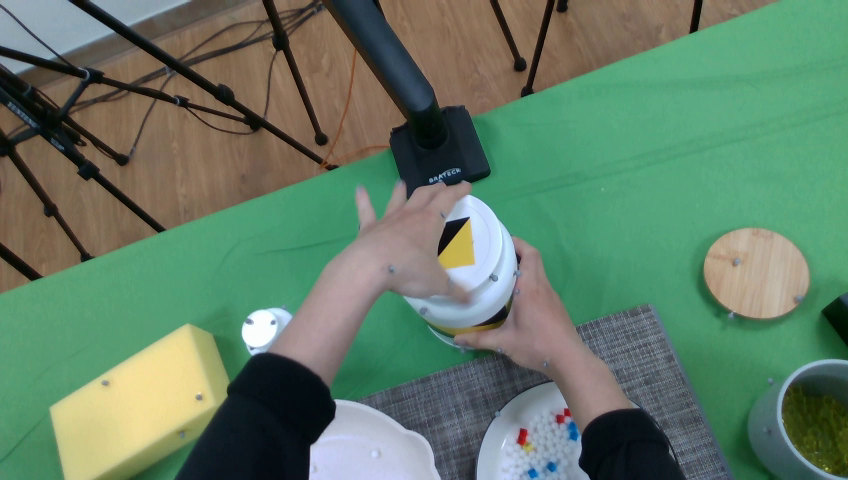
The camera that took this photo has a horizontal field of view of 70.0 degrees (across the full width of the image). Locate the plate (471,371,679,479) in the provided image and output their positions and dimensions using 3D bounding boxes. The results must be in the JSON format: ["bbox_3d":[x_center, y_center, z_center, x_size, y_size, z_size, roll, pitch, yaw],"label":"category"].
[{"bbox_3d":[0.155,0.244,0.636,0.209,0.038,0.207,-5,68,12],"label":"plate"}]

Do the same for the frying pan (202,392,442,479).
[{"bbox_3d":[-0.048,0.377,0.594,0.307,0.104,0.482,-41,57,-4],"label":"frying pan"}]

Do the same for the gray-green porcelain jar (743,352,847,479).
[{"bbox_3d":[0.368,0.170,0.570,0.105,0.127,0.105,-5,67,12],"label":"gray-green porcelain jar"}]

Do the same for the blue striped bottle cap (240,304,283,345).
[{"bbox_3d":[-0.182,0.094,0.677,0.044,0.021,0.044,-6,65,14],"label":"blue striped bottle cap"}]

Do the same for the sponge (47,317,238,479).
[{"bbox_3d":[-0.354,0.205,0.764,0.207,0.061,0.117,-32,65,-1],"label":"sponge"}]

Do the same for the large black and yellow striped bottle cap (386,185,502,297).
[{"bbox_3d":[0.019,0.000,0.598,0.115,0.019,0.114,-4,68,11],"label":"large black and yellow striped bottle cap"}]

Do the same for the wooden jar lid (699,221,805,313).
[{"bbox_3d":[0.369,0.031,0.685,0.108,0.021,0.107,-4,69,12],"label":"wooden jar lid"}]

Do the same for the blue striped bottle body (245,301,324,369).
[{"bbox_3d":[-0.170,0.113,0.724,0.063,0.122,0.062,-5,67,11],"label":"blue striped bottle body"}]

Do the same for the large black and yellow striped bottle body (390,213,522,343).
[{"bbox_3d":[0.038,0.032,0.673,0.130,0.185,0.130,-5,67,12],"label":"large black and yellow striped bottle body"}]
